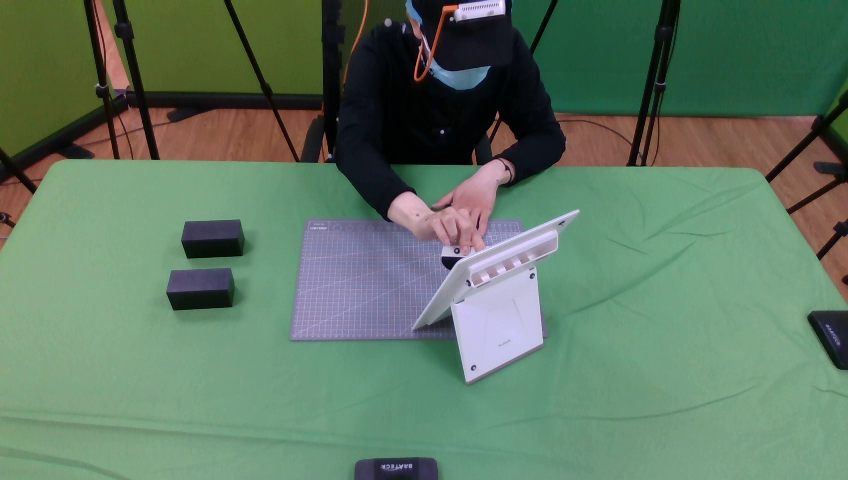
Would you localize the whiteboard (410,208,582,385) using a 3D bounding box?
[{"bbox_3d":[0.132,0.109,0.945,0.217,0.306,0.143,-21,72,-22],"label":"whiteboard"}]

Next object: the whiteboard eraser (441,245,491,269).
[{"bbox_3d":[0.088,0.031,1.000,0.112,0.056,0.041,0,72,17],"label":"whiteboard eraser"}]
